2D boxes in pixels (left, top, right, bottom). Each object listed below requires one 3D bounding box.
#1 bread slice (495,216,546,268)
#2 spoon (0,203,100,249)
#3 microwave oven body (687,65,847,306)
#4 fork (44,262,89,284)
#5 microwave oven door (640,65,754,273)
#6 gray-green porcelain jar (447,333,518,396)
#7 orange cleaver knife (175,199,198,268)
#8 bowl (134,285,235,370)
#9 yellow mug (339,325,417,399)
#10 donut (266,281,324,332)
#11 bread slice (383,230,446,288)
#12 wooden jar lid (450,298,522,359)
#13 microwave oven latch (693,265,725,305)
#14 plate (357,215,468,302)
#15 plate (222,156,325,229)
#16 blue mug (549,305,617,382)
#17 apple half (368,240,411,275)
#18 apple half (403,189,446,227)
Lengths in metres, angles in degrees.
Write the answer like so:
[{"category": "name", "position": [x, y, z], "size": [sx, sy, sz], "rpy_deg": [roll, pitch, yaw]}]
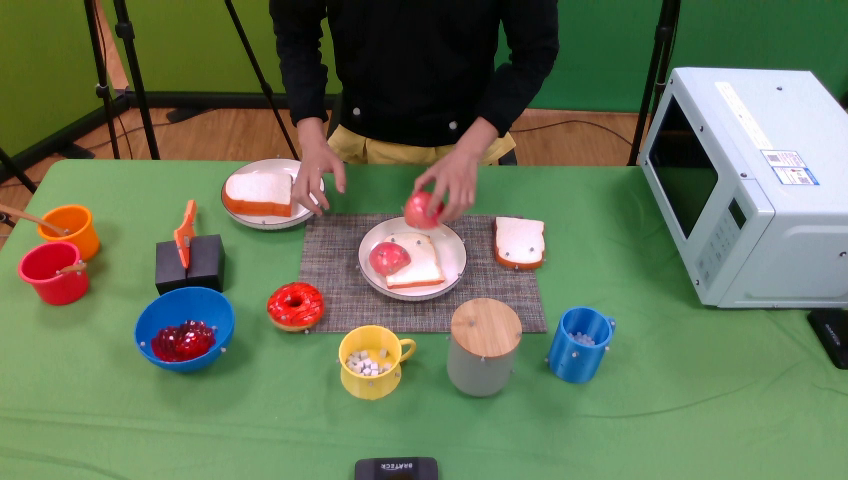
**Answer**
[{"category": "bread slice", "position": [0.194, 0.002, 1.204], "size": [0.105, 0.019, 0.131], "rpy_deg": [6, 45, 2]}, {"category": "spoon", "position": [-0.683, -0.031, 1.088], "size": [0.195, 0.021, 0.041], "rpy_deg": [33, 33, -38]}, {"category": "microwave oven body", "position": [0.669, -0.111, 1.176], "size": [0.326, 0.261, 0.439], "rpy_deg": [0, 46, -3]}, {"category": "fork", "position": [-0.598, 0.054, 1.014], "size": [0.207, 0.019, 0.028], "rpy_deg": [-15, 29, 45]}, {"category": "microwave oven door", "position": [0.522, -0.147, 1.193], "size": [0.039, 0.245, 0.353], "rpy_deg": [0, 47, -3]}, {"category": "gray-green porcelain jar", "position": [0.091, 0.178, 0.960], "size": [0.106, 0.127, 0.105], "rpy_deg": [2, 46, -2]}, {"category": "orange cleaver knife", "position": [-0.438, -0.017, 1.138], "size": [0.012, 0.077, 0.210], "rpy_deg": [-13, 27, -7]}, {"category": "bowl", "position": [-0.377, 0.155, 0.981], "size": [0.151, 0.077, 0.150], "rpy_deg": [2, 46, -2]}, {"category": "yellow mug", "position": [-0.072, 0.190, 0.978], "size": [0.131, 0.064, 0.099], "rpy_deg": [-17, 50, -20]}, {"category": "donut", "position": [-0.222, 0.115, 1.049], "size": [0.099, 0.048, 0.098], "rpy_deg": [2, 45, -2]}, {"category": "bread slice", "position": [-0.028, 0.035, 1.144], "size": [0.107, 0.018, 0.133], "rpy_deg": [-7, 48, -12]}, {"category": "wooden jar lid", "position": [0.093, 0.135, 0.914], "size": [0.108, 0.021, 0.107], "rpy_deg": [2, 48, -3]}, {"category": "microwave oven latch", "position": [0.523, 0.081, 1.115], "size": [0.030, 0.029, 0.078], "rpy_deg": [2, 46, -1]}, {"category": "plate", "position": [-0.022, 0.037, 1.141], "size": [0.208, 0.039, 0.206], "rpy_deg": [2, 47, -2]}, {"category": "plate", "position": [-0.308, -0.095, 1.251], "size": [0.209, 0.038, 0.208], "rpy_deg": [2, 47, -2]}, {"category": "blue mug", "position": [0.269, 0.165, 0.998], "size": [0.116, 0.106, 0.082], "rpy_deg": [-19, 51, -21]}, {"category": "apple half", "position": [-0.066, 0.024, 1.121], "size": [0.081, 0.033, 0.081], "rpy_deg": [1, 48, -1]}, {"category": "apple half", "position": [0.002, -0.067, 1.143], "size": [0.074, 0.053, 0.080], "rpy_deg": [19, 39, 14]}]
